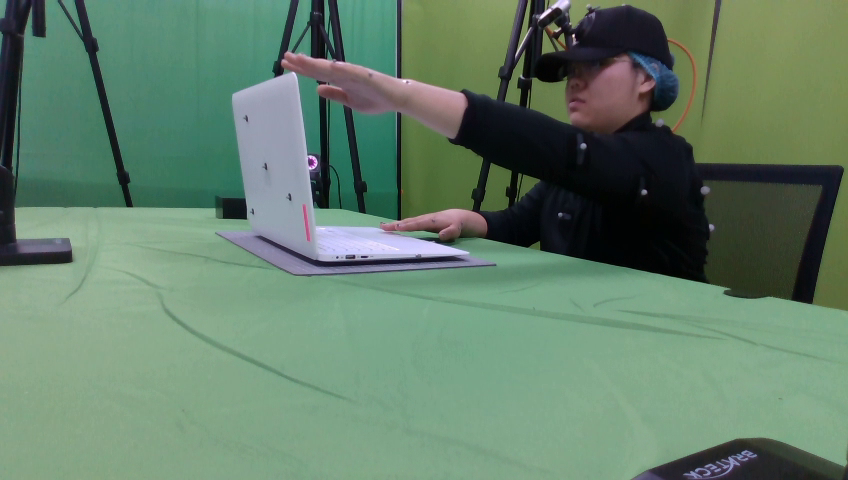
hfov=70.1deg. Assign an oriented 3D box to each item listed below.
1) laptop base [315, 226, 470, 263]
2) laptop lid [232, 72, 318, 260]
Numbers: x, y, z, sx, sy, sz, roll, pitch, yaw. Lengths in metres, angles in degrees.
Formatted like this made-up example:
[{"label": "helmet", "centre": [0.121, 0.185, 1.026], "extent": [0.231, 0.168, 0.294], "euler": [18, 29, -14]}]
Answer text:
[{"label": "laptop base", "centre": [-0.117, 0.005, 0.970], "extent": [0.237, 0.023, 0.352], "euler": [2, 6, -30]}, {"label": "laptop lid", "centre": [-0.229, -0.109, 0.888], "extent": [0.013, 0.241, 0.355], "euler": [-10, 14, -28]}]
